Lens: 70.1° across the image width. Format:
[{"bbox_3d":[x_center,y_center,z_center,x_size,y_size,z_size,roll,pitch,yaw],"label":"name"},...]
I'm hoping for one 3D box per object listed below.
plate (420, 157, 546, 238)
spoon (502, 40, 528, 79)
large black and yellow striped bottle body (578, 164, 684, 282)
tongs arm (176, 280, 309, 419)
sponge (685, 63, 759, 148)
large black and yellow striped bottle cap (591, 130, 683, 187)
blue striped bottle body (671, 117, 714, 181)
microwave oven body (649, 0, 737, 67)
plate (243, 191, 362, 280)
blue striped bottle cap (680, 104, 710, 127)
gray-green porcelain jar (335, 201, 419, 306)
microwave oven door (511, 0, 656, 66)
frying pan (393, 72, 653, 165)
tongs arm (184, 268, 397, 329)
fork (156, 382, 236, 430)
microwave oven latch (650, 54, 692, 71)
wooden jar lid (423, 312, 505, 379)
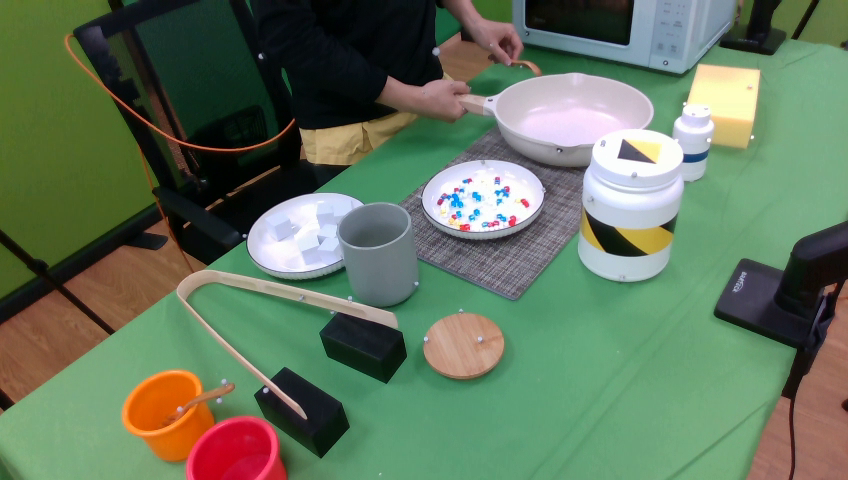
[{"bbox_3d":[0.099,-0.067,1.017,0.209,0.038,0.208,-4,40,4],"label":"plate"},{"bbox_3d":[0.198,-0.401,1.325,0.021,0.042,0.192,-18,37,8],"label":"spoon"},{"bbox_3d":[0.291,-0.046,0.859,0.131,0.185,0.130,-4,41,4],"label":"large black and yellow striped bottle body"},{"bbox_3d":[-0.254,0.133,0.801,0.028,0.028,0.384,-41,41,-23],"label":"tongs arm"},{"bbox_3d":[0.569,-0.263,1.164,0.117,0.061,0.207,12,45,22],"label":"sponge"},{"bbox_3d":[0.282,-0.111,0.803,0.115,0.019,0.114,-3,41,3],"label":"large black and yellow striped bottle cap"},{"bbox_3d":[0.449,-0.165,1.022,0.063,0.121,0.063,-5,41,4],"label":"blue striped bottle body"},{"bbox_3d":[0.475,-0.602,1.411,0.438,0.261,0.327,23,50,32],"label":"microwave oven body"},{"bbox_3d":[-0.188,-0.005,0.992,0.207,0.039,0.206,-4,41,4],"label":"plate"},{"bbox_3d":[0.443,-0.205,0.989,0.044,0.021,0.044,-1,41,2],"label":"blue striped bottle cap"},{"bbox_3d":[-0.064,0.024,0.872,0.106,0.127,0.105,-4,41,4],"label":"gray-green porcelain jar"},{"bbox_3d":[0.351,-0.540,1.349,0.353,0.245,0.039,24,50,31],"label":"microwave oven door"},{"bbox_3d":[0.177,-0.254,1.160,0.487,0.103,0.306,13,40,7],"label":"frying pan"},{"bbox_3d":[-0.202,0.084,0.848,0.382,0.027,0.051,11,45,35],"label":"tongs arm"},{"bbox_3d":[-0.262,0.189,0.690,0.018,0.206,0.028,49,43,-7],"label":"fork"},{"bbox_3d":[0.531,-0.386,1.301,0.078,0.029,0.030,25,51,33],"label":"microwave oven latch"},{"bbox_3d":[0.053,0.142,0.800,0.108,0.021,0.108,-5,39,4],"label":"wooden jar lid"}]
